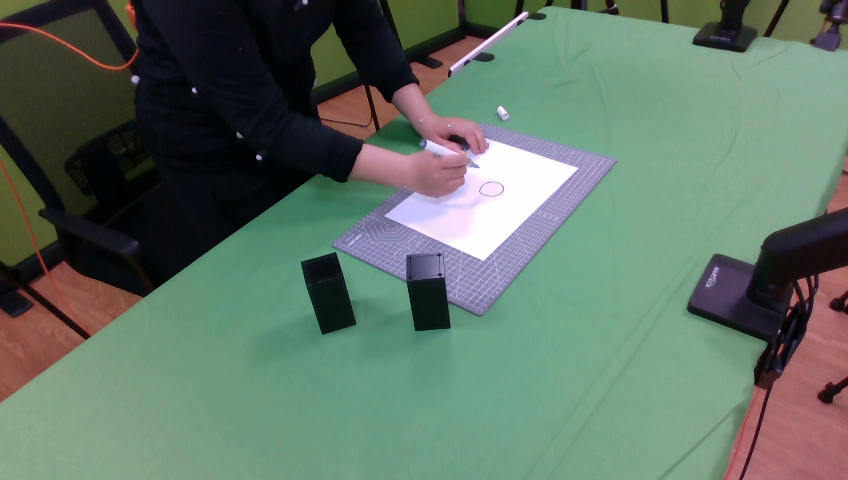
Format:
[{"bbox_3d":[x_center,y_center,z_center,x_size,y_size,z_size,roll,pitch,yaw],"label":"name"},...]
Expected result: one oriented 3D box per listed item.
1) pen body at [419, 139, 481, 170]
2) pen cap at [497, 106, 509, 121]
[{"bbox_3d":[0.047,-0.138,1.006,0.145,0.017,0.016,15,21,-42],"label":"pen body"},{"bbox_3d":[0.164,-0.265,1.262,0.017,0.017,0.038,-13,42,-6],"label":"pen cap"}]
